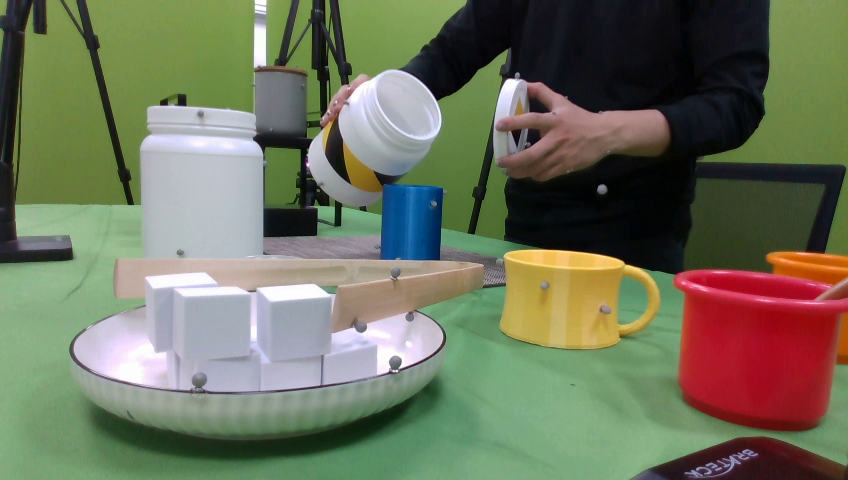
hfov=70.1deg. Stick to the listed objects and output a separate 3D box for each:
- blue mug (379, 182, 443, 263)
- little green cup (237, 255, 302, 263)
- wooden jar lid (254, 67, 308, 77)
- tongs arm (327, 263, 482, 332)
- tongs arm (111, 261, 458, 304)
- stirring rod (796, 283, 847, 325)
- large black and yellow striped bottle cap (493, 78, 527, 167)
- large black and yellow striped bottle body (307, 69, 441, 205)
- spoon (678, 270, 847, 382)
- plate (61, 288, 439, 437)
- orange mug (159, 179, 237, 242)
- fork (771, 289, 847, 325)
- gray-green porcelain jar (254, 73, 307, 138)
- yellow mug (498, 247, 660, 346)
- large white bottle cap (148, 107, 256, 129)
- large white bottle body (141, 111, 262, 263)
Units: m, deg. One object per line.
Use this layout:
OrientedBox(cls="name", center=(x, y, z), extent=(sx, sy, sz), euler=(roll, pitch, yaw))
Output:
OrientedBox(cls="blue mug", center=(-0.020, -0.026, 0.833), extent=(0.082, 0.106, 0.116), euler=(1, 7, -7))
OrientedBox(cls="little green cup", center=(-0.150, 0.038, 0.590), extent=(0.061, 0.038, 0.061), euler=(3, 7, 0))
OrientedBox(cls="wooden jar lid", center=(-0.296, -0.339, 1.251), extent=(0.108, 0.020, 0.108), euler=(2, 7, 0))
OrientedBox(cls="tongs arm", center=(-0.003, 0.036, 0.493), extent=(0.050, 0.026, 0.386), euler=(1, 0, 19))
OrientedBox(cls="tongs arm", center=(-0.080, 0.032, 0.527), extent=(0.028, 0.027, 0.389), euler=(-3, -3, 33))
OrientedBox(cls="stirring rod", center=(0.347, 0.019, 0.460), extent=(0.014, 0.176, 0.006), euler=(-17, 59, -26))
OrientedBox(cls="large black and yellow striped bottle cap", center=(0.113, -0.152, 0.787), extent=(0.019, 0.115, 0.115), euler=(5, 8, 21))
OrientedBox(cls="large black and yellow striped bottle body", center=(-0.072, -0.145, 0.862), extent=(0.131, 0.130, 0.183), euler=(-4, -22, -39))
OrientedBox(cls="spoon", center=(0.229, 0.031, 0.338), extent=(0.193, 0.021, 0.042), euler=(-44, -17, 27))
OrientedBox(cls="plate", center=(-0.095, 0.069, 0.362), extent=(0.208, 0.039, 0.207), euler=(3, 7, 0))
OrientedBox(cls="orange mug", center=(-0.368, -0.052, 0.991), extent=(0.127, 0.101, 0.083), euler=(-10, 14, -41))
OrientedBox(cls="fork", center=(0.335, 0.018, 0.443), extent=(0.028, 0.018, 0.207), euler=(-1, -36, -20))
OrientedBox(cls="gray-green porcelain jar", center=(-0.298, -0.277, 1.259), extent=(0.106, 0.126, 0.106), euler=(3, 8, 0))
OrientedBox(cls="yellow mug", center=(0.130, 0.045, 0.508), extent=(0.131, 0.064, 0.100), euler=(4, 7, 6))
OrientedBox(cls="large white bottle cap", center=(-0.250, -0.137, 0.686), extent=(0.115, 0.018, 0.115), euler=(2, 8, 0))
OrientedBox(cls="large white bottle body", center=(-0.254, -0.054, 0.697), extent=(0.131, 0.184, 0.130), euler=(2, 7, 0))
